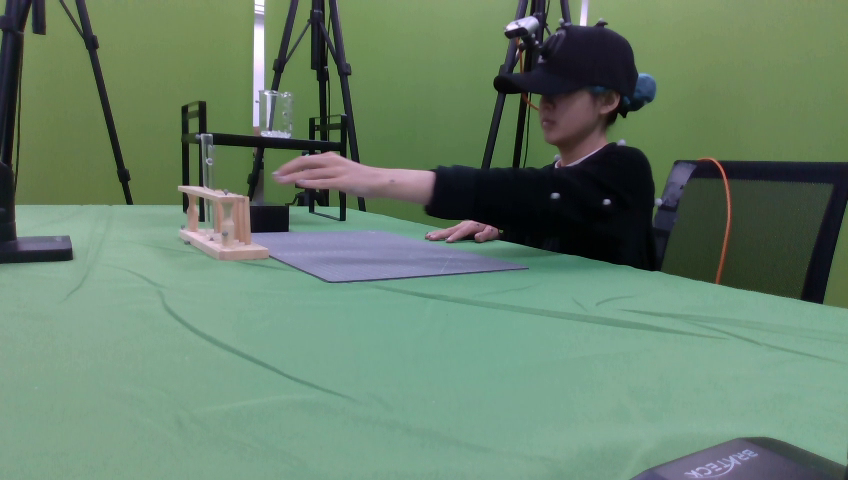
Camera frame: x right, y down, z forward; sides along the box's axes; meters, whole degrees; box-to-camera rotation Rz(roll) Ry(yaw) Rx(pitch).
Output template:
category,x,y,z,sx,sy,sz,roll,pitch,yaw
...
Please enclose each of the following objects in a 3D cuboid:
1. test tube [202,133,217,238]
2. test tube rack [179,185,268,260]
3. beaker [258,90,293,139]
category,x,y,z,sx,sy,sz,roll,pitch,yaw
test tube,-0.307,-0.078,0.868,0.017,0.150,0.017,1,10,0
test tube rack,-0.303,-0.031,0.898,0.067,0.085,0.241,-2,9,-33
beaker,-0.324,-0.274,1.326,0.074,0.100,0.083,-2,10,-33
